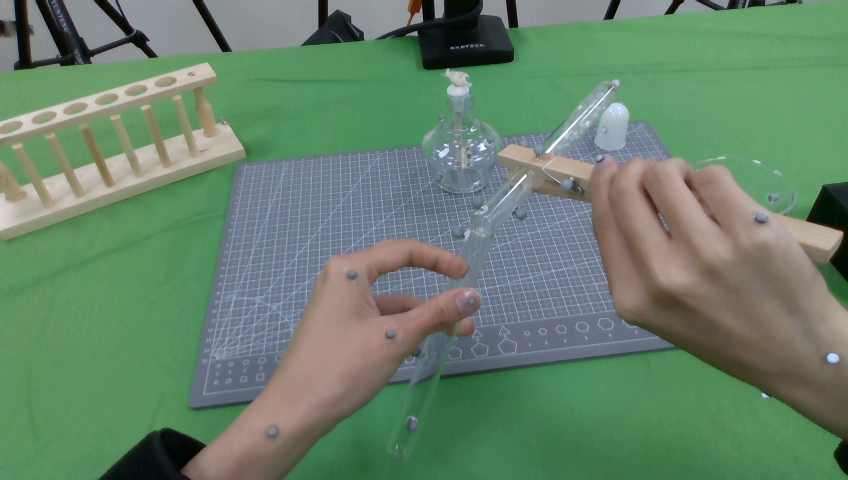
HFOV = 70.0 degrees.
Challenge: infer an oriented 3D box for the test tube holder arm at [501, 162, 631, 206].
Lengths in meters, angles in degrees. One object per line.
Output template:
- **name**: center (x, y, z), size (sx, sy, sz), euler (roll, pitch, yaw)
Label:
- **test tube holder arm**: center (0.078, -0.032, 0.336), size (0.015, 0.010, 0.087), euler (-39, 32, -24)

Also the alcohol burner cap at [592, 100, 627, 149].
- **alcohol burner cap**: center (0.194, -0.123, 0.631), size (0.034, 0.048, 0.033), euler (-2, 44, 2)

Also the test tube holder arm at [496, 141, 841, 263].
- **test tube holder arm**: center (0.104, -0.025, 0.300), size (0.015, 0.013, 0.176), euler (-40, 40, -23)

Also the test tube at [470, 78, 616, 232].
- **test tube**: center (0.075, -0.055, 0.362), size (0.017, 0.017, 0.150), euler (27, 56, 28)

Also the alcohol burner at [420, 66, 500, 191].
- **alcohol burner**: center (0.033, -0.107, 0.574), size (0.078, 0.120, 0.077), euler (-3, 42, 3)

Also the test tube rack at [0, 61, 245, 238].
- **test tube rack**: center (-0.317, -0.096, 0.611), size (0.243, 0.086, 0.066), euler (-23, 47, -20)

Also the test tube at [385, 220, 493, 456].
- **test tube**: center (0.006, 0.059, 0.346), size (0.017, 0.151, 0.017), euler (19, 14, -4)

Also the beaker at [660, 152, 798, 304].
- **beaker**: center (0.225, -0.007, 0.467), size (0.074, 0.101, 0.083), euler (-28, 48, -23)
